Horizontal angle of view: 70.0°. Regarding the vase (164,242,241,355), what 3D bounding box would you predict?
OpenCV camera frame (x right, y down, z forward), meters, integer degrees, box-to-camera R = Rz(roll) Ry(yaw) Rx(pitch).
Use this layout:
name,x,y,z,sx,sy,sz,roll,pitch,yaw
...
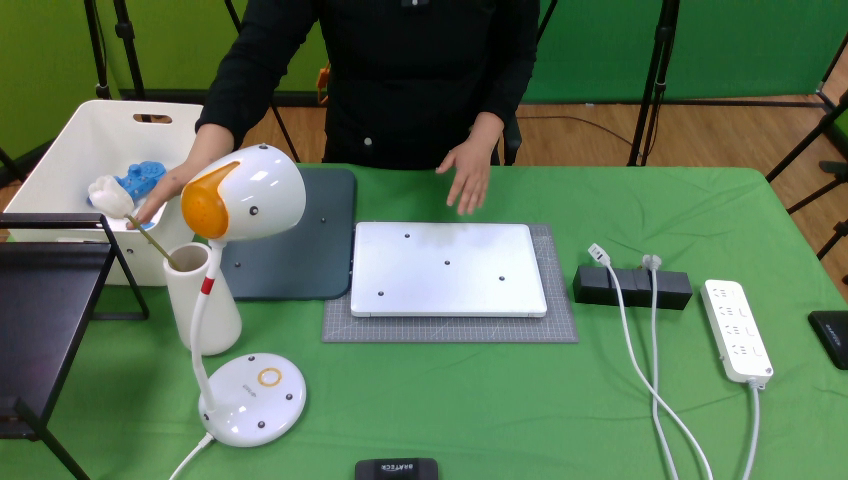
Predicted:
name,x,y,z,sx,sy,sz,roll,pitch,yaw
vase,-0.349,0.096,0.953,0.098,0.201,0.097,3,47,-3

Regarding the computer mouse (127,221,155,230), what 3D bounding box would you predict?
name,x,y,z,sx,sy,sz,roll,pitch,yaw
computer mouse,-0.537,0.009,1.127,0.062,0.041,0.117,31,55,21

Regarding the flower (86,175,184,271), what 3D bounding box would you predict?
name,x,y,z,sx,sy,sz,roll,pitch,yaw
flower,-0.365,0.039,0.894,0.038,0.364,0.044,-4,53,14

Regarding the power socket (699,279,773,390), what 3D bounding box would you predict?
name,x,y,z,sx,sy,sz,roll,pitch,yaw
power socket,0.552,0.158,1.080,0.072,0.033,0.225,4,47,1

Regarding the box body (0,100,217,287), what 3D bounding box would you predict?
name,x,y,z,sx,sy,sz,roll,pitch,yaw
box body,-0.559,-0.092,1.144,0.254,0.161,0.361,3,46,-2

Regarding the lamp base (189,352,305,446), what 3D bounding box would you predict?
name,x,y,z,sx,sy,sz,roll,pitch,yaw
lamp base,-0.268,0.197,0.876,0.160,0.181,0.179,26,52,20

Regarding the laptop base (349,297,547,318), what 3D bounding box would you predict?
name,x,y,z,sx,sy,sz,roll,pitch,yaw
laptop base,0.041,0.056,1.149,0.355,0.023,0.234,1,43,-4

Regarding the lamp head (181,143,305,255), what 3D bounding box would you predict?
name,x,y,z,sx,sy,sz,roll,pitch,yaw
lamp head,-0.216,-0.043,0.696,0.112,0.113,0.123,23,31,17

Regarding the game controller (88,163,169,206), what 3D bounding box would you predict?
name,x,y,z,sx,sy,sz,roll,pitch,yaw
game controller,-0.597,-0.111,1.234,0.097,0.052,0.155,27,52,21

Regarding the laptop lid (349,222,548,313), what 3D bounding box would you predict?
name,x,y,z,sx,sy,sz,roll,pitch,yaw
laptop lid,0.041,0.046,1.143,0.357,0.013,0.240,2,43,-3

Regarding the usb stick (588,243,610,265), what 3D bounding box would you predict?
name,x,y,z,sx,sy,sz,roll,pitch,yaw
usb stick,0.337,0.024,1.171,0.027,0.021,0.059,33,18,-12

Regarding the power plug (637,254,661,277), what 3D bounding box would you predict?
name,x,y,z,sx,sy,sz,roll,pitch,yaw
power plug,0.415,0.051,1.139,0.035,0.053,0.072,46,49,10

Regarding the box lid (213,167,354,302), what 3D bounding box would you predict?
name,x,y,z,sx,sy,sz,roll,pitch,yaw
box lid,-0.276,-0.024,1.205,0.263,0.015,0.369,0,46,-4
